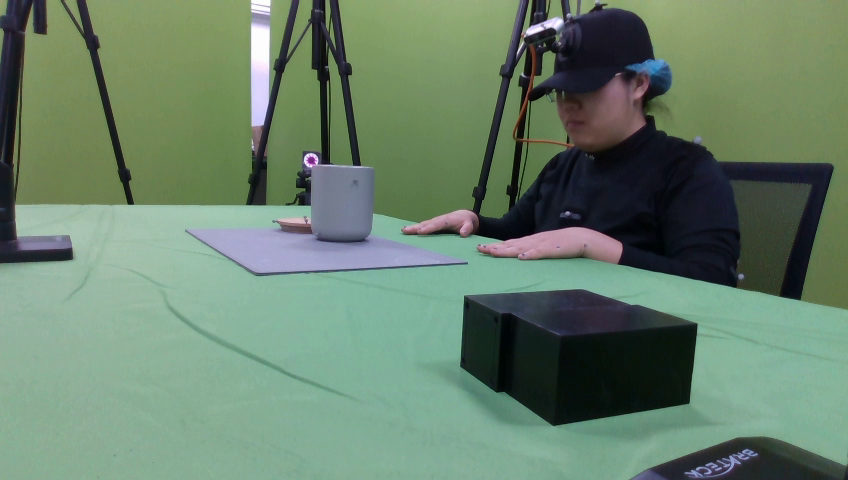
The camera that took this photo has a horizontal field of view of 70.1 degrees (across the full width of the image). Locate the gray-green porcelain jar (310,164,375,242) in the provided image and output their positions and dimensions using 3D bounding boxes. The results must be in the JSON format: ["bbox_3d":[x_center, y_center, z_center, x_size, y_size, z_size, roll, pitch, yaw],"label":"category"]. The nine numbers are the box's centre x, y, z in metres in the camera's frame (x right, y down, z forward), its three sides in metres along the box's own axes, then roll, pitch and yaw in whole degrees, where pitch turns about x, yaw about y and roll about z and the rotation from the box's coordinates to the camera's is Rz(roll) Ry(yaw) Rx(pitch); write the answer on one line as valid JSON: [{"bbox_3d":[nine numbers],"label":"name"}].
[{"bbox_3d":[-0.139,-0.063,1.025,0.106,0.126,0.106,3,8,0],"label":"gray-green porcelain jar"}]

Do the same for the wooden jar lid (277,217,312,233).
[{"bbox_3d":[-0.221,-0.028,1.138,0.108,0.020,0.108,2,8,0],"label":"wooden jar lid"}]
